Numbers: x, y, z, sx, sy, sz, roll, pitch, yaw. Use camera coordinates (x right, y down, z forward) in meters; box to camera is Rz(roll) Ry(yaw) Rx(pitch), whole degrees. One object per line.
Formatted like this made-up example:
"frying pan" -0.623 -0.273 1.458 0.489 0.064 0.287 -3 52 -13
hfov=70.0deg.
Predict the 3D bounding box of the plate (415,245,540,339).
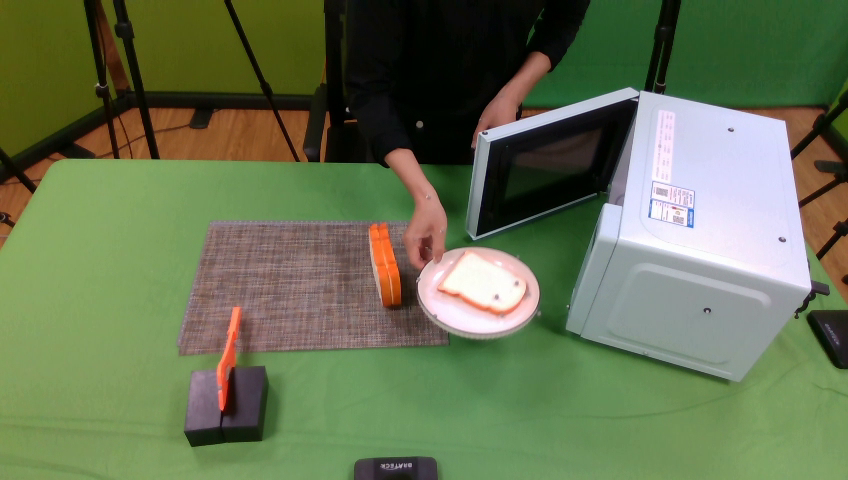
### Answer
"plate" 0.088 0.089 1.016 0.208 0.039 0.206 1 40 -1

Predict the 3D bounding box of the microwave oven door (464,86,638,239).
"microwave oven door" 0.248 -0.151 1.184 0.356 0.245 0.039 -20 51 -22

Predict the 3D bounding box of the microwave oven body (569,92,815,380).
"microwave oven body" 0.468 -0.021 1.082 0.325 0.261 0.440 15 46 11

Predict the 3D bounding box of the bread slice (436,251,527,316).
"bread slice" 0.104 0.076 1.029 0.134 0.018 0.106 21 47 20

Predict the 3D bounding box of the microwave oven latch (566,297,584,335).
"microwave oven latch" 0.268 0.126 1.059 0.030 0.029 0.079 16 46 12

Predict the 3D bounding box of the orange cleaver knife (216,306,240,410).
"orange cleaver knife" -0.307 0.180 0.957 0.012 0.077 0.210 -2 25 -8
